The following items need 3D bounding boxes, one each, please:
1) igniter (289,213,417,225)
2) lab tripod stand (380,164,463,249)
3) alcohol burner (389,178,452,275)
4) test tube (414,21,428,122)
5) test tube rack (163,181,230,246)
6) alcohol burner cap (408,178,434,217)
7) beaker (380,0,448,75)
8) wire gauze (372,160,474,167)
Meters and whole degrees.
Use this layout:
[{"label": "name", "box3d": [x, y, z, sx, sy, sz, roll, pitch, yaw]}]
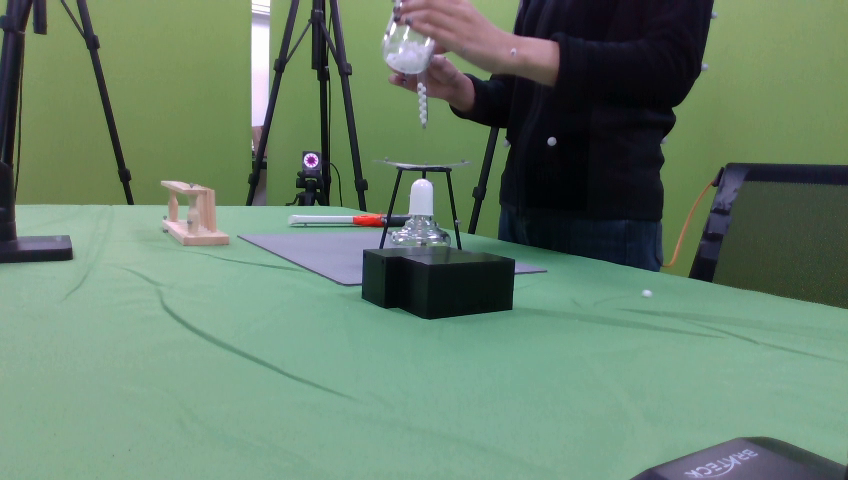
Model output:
[{"label": "igniter", "box3d": [-0.144, -0.044, 1.275, 0.278, 0.025, 0.057, -1, -1, -27]}, {"label": "lab tripod stand", "box3d": [-0.003, -0.055, 0.967, 0.148, 0.131, 0.148, 2, 9, 0]}, {"label": "alcohol burner", "box3d": [-0.004, -0.017, 0.749, 0.078, 0.119, 0.078, 1, 9, 0]}, {"label": "test tube", "box3d": [-0.004, -0.259, 0.933, 0.017, 0.150, 0.017, -2, 17, 1]}, {"label": "test tube rack", "box3d": [-0.387, -0.050, 1.015, 0.067, 0.085, 0.241, -2, 9, -30]}, {"label": "alcohol burner cap", "box3d": [-0.003, -0.053, 0.746, 0.034, 0.048, 0.034, 3, 3, 0]}, {"label": "beaker", "box3d": [-0.016, -0.285, 0.829, 0.074, 0.100, 0.084, 15, -17, 3]}, {"label": "wire gauze", "box3d": [-0.004, -0.122, 0.958, 0.122, 0.011, 0.124, -4, 9, -33]}]
